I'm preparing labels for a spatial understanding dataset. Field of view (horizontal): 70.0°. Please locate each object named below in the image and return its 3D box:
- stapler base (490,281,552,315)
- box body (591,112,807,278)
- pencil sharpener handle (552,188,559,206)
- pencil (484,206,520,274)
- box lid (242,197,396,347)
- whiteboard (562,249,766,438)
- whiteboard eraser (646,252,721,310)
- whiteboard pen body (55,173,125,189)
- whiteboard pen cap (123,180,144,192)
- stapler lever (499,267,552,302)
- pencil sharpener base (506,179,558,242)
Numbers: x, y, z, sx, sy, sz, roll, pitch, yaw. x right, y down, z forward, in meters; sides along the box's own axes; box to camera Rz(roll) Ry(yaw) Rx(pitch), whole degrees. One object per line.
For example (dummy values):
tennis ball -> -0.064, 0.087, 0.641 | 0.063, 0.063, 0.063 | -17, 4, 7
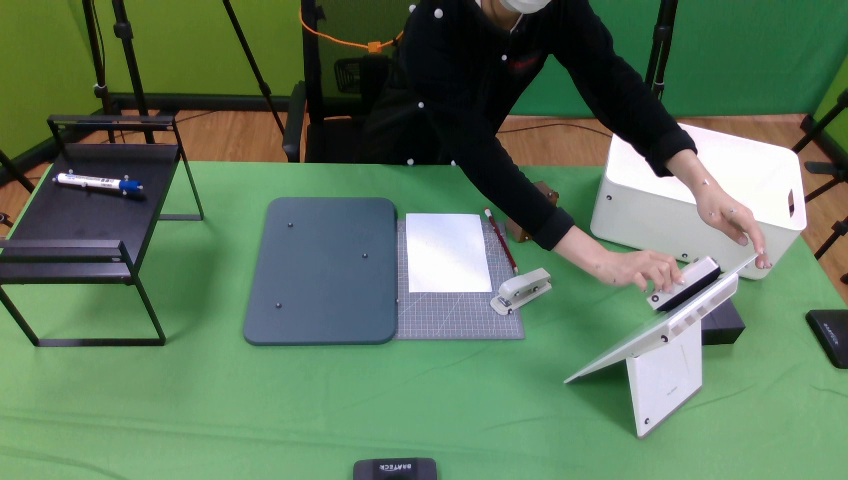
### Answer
stapler base -> 0.182, 0.094, 1.118 | 0.130, 0.024, 0.041 | -24, 57, -29
box body -> 0.540, -0.092, 1.229 | 0.363, 0.161, 0.253 | 16, 47, 11
pencil sharpener handle -> 0.261, -0.084, 1.221 | 0.031, 0.068, 0.036 | -16, 65, -19
pencil -> 0.157, -0.002, 1.218 | 0.012, 0.012, 0.192 | -10, 48, -13
box lid -> -0.186, 0.046, 1.147 | 0.263, 0.015, 0.369 | 0, 46, -3
whiteboard -> 0.387, 0.176, 0.905 | 0.217, 0.306, 0.143 | -26, 72, -26
whiteboard eraser -> 0.392, 0.065, 0.913 | 0.042, 0.113, 0.055 | 52, 21, 6
whiteboard pen body -> -0.539, -0.095, 0.998 | 0.141, 0.017, 0.017 | 6, 46, 6
whiteboard pen cap -> -0.479, -0.089, 0.993 | 0.033, 0.018, 0.018 | 7, 46, 14
stapler lever -> 0.185, 0.077, 1.101 | 0.118, 0.040, 0.026 | -24, 57, -29
pencil sharpener base -> 0.216, -0.059, 1.211 | 0.077, 0.107, 0.061 | -16, 49, -19
